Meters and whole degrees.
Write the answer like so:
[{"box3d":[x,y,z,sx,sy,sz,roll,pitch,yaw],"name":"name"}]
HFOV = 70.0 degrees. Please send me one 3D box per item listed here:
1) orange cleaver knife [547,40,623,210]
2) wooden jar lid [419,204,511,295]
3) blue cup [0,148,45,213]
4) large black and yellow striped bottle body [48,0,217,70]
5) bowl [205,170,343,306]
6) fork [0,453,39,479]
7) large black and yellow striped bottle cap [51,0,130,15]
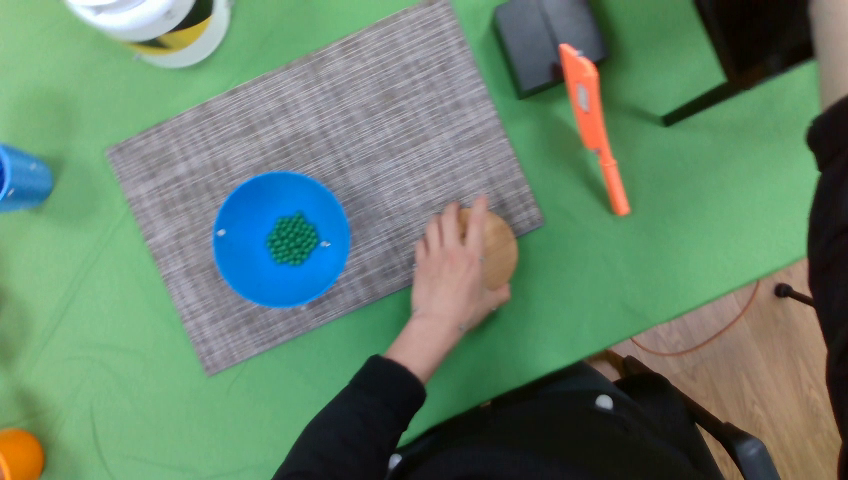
[{"box3d":[0.184,-0.128,0.695,0.012,0.076,0.213,-30,121,-3],"name":"orange cleaver knife"},{"box3d":[0.049,0.011,0.723,0.108,0.020,0.108,0,95,1],"name":"wooden jar lid"},{"box3d":[-0.492,-0.068,0.690,0.093,0.100,0.092,0,92,-2],"name":"blue cup"},{"box3d":[-0.314,-0.269,0.644,0.131,0.184,0.130,0,90,0],"name":"large black and yellow striped bottle body"},{"box3d":[-0.163,-0.002,0.698,0.151,0.077,0.151,0,91,1],"name":"bowl"},{"box3d":[-0.552,0.277,0.675,0.208,0.018,0.028,-6,101,-43],"name":"fork"},{"box3d":[-0.314,-0.269,0.560,0.115,0.019,0.115,0,93,1],"name":"large black and yellow striped bottle cap"}]
